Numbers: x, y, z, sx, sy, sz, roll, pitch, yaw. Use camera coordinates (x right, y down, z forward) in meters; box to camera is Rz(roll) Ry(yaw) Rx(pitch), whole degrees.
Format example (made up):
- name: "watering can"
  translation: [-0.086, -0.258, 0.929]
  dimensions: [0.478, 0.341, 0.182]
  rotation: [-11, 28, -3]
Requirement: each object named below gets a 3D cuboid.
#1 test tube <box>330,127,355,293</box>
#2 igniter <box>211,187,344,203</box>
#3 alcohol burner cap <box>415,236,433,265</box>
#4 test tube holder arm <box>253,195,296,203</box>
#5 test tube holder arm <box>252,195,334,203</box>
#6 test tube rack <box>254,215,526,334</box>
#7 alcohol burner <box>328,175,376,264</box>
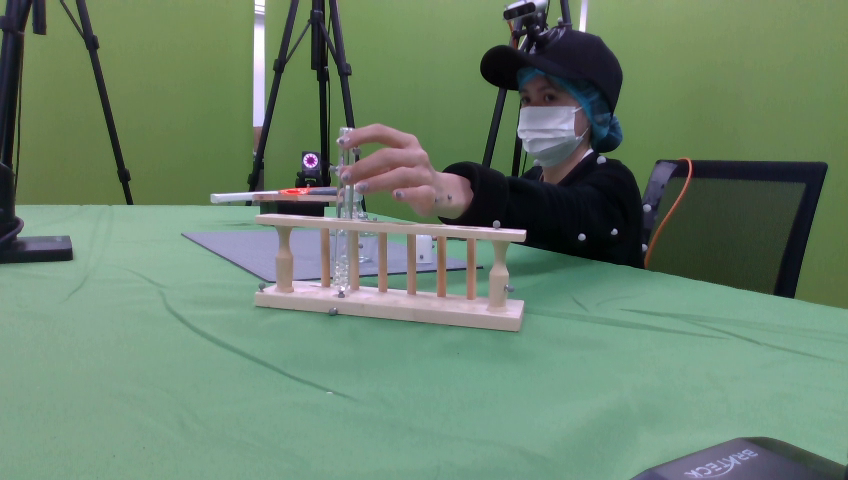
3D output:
- name: "test tube"
  translation: [-0.074, -0.026, 0.546]
  dimensions: [0.017, 0.150, 0.017]
  rotation: [4, 5, 0]
- name: "igniter"
  translation: [-0.299, -0.094, 1.266]
  dimensions: [0.278, 0.025, 0.057]
  rotation: [-6, 12, -34]
- name: "alcohol burner cap"
  translation: [-0.004, 0.011, 0.835]
  dimensions: [0.034, 0.048, 0.034]
  rotation: [2, 7, 0]
- name: "test tube holder arm"
  translation: [-0.294, -0.081, 1.194]
  dimensions: [0.088, 0.015, 0.010]
  rotation: [-4, 10, -38]
- name: "test tube holder arm"
  translation: [-0.262, -0.085, 1.227]
  dimensions: [0.179, 0.015, 0.013]
  rotation: [-5, 10, -40]
- name: "test tube rack"
  translation: [-0.030, 0.025, 0.557]
  dimensions: [0.242, 0.085, 0.067]
  rotation: [4, 7, 12]
- name: "alcohol burner"
  translation: [-0.098, -0.028, 0.819]
  dimensions: [0.078, 0.119, 0.078]
  rotation: [1, 8, 0]
